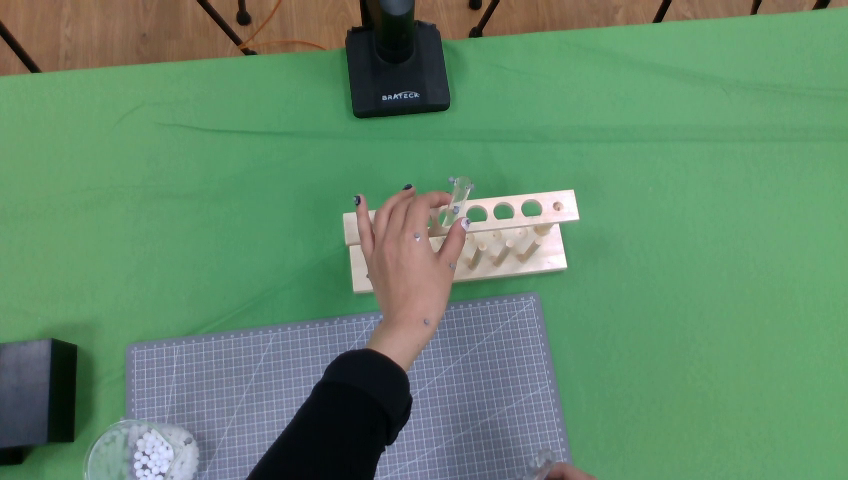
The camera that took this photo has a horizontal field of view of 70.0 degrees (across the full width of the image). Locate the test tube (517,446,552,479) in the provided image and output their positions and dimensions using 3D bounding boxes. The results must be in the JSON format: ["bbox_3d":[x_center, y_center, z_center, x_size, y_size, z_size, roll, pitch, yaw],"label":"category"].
[{"bbox_3d":[0.095,0.212,0.545,0.017,0.152,0.017,0,57,0],"label":"test tube"}]

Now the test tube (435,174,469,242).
[{"bbox_3d":[0.026,-0.028,0.612,0.017,0.151,0.017,2,70,-5],"label":"test tube"}]

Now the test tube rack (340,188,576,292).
[{"bbox_3d":[0.036,0.002,0.656,0.242,0.085,0.066,-6,73,-5],"label":"test tube rack"}]

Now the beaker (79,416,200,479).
[{"bbox_3d":[-0.257,0.204,0.568,0.084,0.101,0.073,-14,74,-7],"label":"beaker"}]
